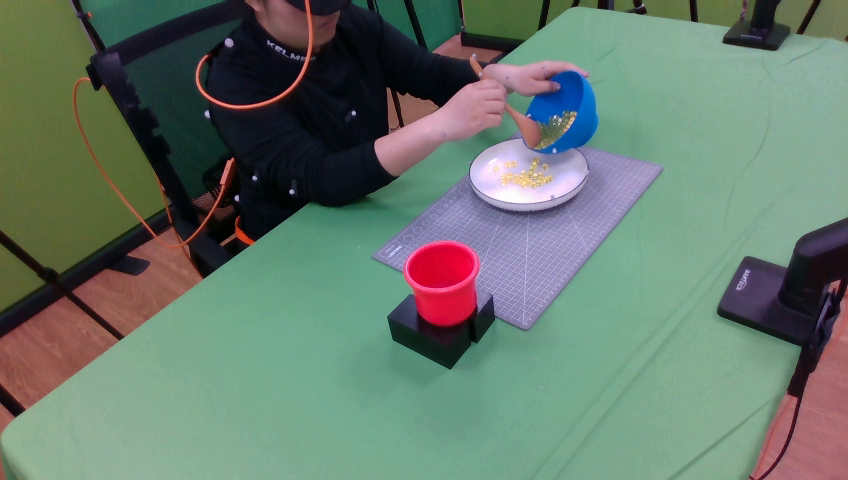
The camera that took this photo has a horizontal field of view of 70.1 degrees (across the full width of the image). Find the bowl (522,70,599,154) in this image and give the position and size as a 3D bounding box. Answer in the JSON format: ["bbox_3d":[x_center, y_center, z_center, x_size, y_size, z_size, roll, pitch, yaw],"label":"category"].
[{"bbox_3d":[0.251,-0.210,1.059,0.077,0.151,0.150,22,30,-29],"label":"bowl"}]

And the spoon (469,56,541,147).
[{"bbox_3d":[0.135,-0.229,1.005,0.041,0.195,0.021,-55,22,-19],"label":"spoon"}]

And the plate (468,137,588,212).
[{"bbox_3d":[0.182,-0.112,1.064,0.207,0.039,0.206,-5,40,5],"label":"plate"}]
